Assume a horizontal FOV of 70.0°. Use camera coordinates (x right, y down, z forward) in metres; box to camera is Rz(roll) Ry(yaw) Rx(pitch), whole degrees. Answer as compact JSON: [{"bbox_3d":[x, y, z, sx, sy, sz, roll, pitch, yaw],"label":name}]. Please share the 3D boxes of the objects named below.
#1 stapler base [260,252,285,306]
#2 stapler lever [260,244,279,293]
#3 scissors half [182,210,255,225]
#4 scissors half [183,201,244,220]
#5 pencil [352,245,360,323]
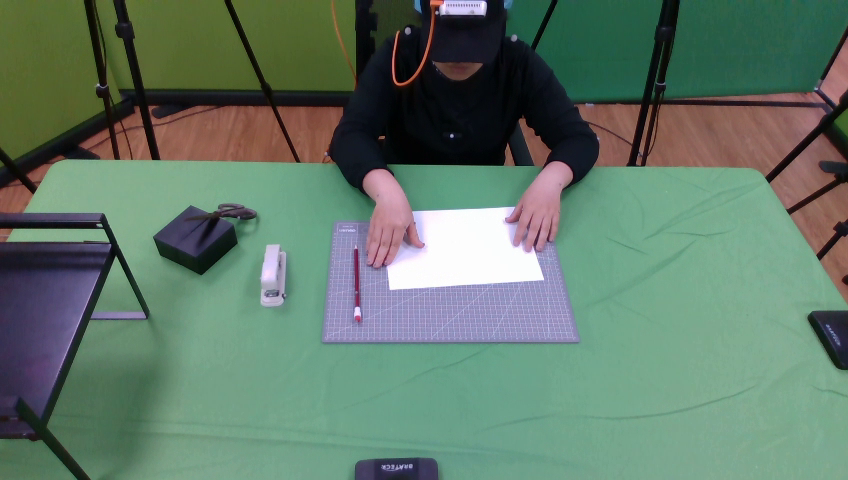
[{"bbox_3d":[-0.279,0.064,1.113,0.041,0.024,0.129,-1,44,-9],"label":"stapler base"},{"bbox_3d":[-0.279,0.045,1.096,0.027,0.040,0.117,-2,44,-9],"label":"stapler lever"},{"bbox_3d":[-0.389,-0.042,1.158,0.040,0.013,0.175,40,21,22],"label":"scissors half"},{"bbox_3d":[-0.405,-0.054,1.163,0.040,0.013,0.175,29,18,7],"label":"scissors half"},{"bbox_3d":[-0.127,0.076,1.120,0.012,0.012,0.192,-2,44,-7],"label":"pencil"}]
